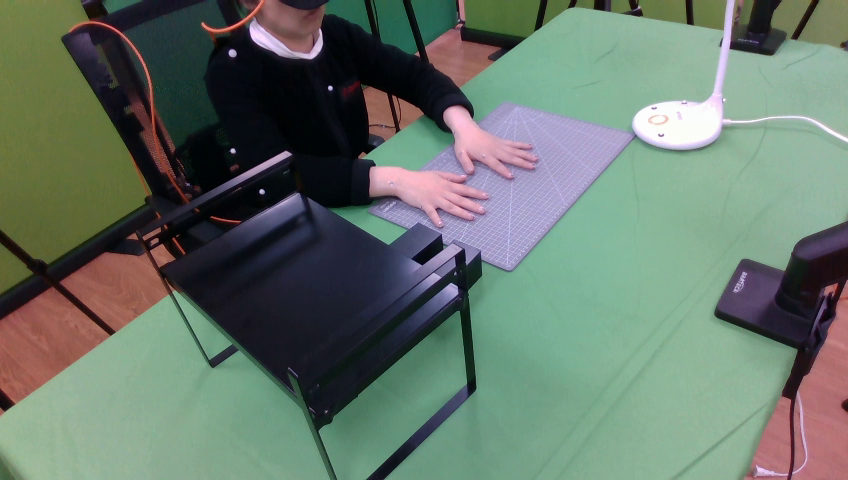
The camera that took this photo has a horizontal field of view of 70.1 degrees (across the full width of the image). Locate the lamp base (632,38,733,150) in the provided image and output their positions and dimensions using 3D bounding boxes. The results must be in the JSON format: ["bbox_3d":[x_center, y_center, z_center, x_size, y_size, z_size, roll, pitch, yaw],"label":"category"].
[{"bbox_3d":[0.486,-0.280,1.108,0.179,0.181,0.159,-5,41,-1],"label":"lamp base"}]
